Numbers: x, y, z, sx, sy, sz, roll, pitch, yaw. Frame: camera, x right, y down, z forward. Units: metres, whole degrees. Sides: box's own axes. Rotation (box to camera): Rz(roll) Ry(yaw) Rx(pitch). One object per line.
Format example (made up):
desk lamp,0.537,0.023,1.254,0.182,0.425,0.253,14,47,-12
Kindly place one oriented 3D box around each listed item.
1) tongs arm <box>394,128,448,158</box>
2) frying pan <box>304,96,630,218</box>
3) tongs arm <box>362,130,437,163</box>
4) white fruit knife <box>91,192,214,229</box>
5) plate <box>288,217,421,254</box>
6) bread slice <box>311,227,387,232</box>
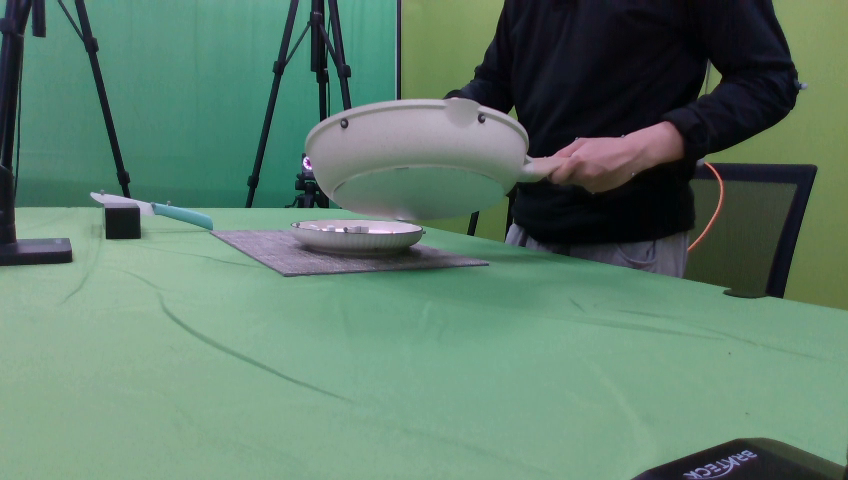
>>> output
tongs arm,0.001,-0.150,0.912,0.028,0.028,0.388,-11,9,13
frying pan,0.087,-0.102,0.830,0.490,0.102,0.306,-6,-10,-22
tongs arm,-0.026,-0.146,0.918,0.051,0.026,0.385,-8,10,9
white fruit knife,-0.478,-0.055,1.078,0.208,0.027,0.016,14,0,-30
plate,-0.109,-0.008,0.957,0.208,0.039,0.207,2,8,0
bread slice,-0.115,-0.005,0.950,0.134,0.018,0.107,4,6,-7
